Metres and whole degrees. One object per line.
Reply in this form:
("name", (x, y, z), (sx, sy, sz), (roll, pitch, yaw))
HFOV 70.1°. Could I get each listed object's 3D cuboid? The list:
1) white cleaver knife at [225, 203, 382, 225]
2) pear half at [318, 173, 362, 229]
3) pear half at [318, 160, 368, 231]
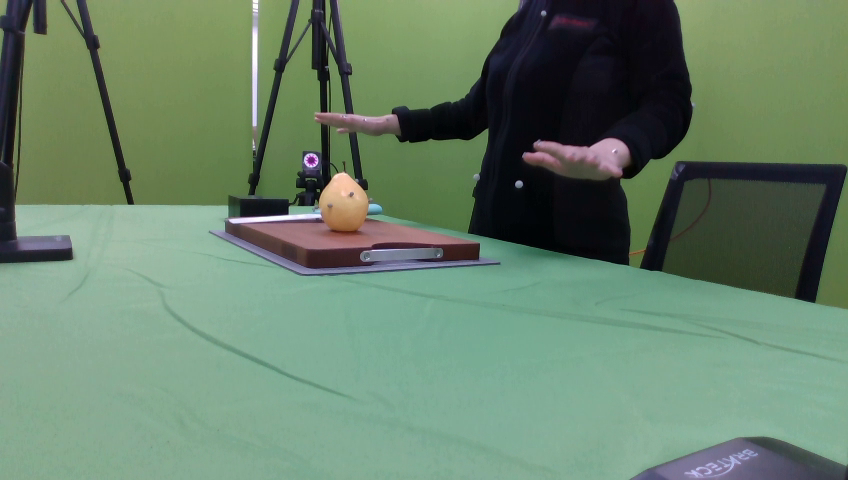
("white cleaver knife", (-0.202, -0.040, 1.069), (0.288, 0.021, 0.065), (-8, 17, -32))
("pear half", (-0.136, -0.062, 0.959), (0.071, 0.088, 0.031), (-7, 10, -29))
("pear half", (-0.120, -0.067, 0.927), (0.077, 0.110, 0.055), (-7, 11, -29))
